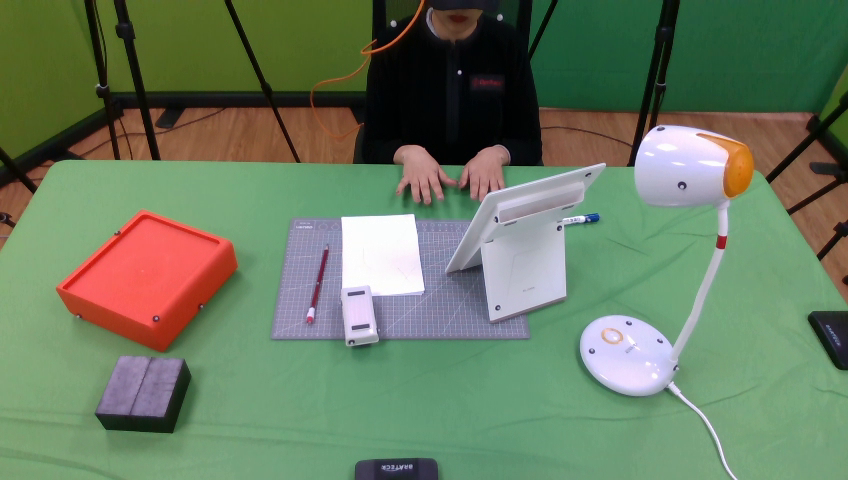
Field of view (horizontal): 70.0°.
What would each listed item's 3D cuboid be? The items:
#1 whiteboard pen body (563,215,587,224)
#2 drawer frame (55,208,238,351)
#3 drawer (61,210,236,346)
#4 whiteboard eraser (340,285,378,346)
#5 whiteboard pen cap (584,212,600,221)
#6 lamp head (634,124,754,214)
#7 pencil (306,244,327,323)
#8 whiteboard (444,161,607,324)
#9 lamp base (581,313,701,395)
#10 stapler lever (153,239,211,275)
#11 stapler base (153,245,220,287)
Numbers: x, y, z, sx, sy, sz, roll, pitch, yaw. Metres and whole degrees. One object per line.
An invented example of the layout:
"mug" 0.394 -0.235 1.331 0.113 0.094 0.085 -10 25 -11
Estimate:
"whiteboard pen body" 0.291 -0.040 1.260 0.141 0.017 0.017 -6 47 -11
"drawer frame" -0.474 0.062 1.059 0.201 0.083 0.213 18 48 12
"drawer" -0.474 0.061 1.063 0.194 0.073 0.211 19 49 13
"whiteboard eraser" -0.113 0.131 1.044 0.056 0.042 0.112 -5 47 -10
"whiteboard pen cap" 0.351 -0.049 1.271 0.033 0.018 0.018 -7 47 -11
"lamp head" 0.351 -0.089 0.775 0.112 0.113 0.122 -30 30 -28
"pencil" -0.196 0.076 1.115 0.012 0.012 0.193 4 44 0
"whiteboard" 0.186 0.025 1.029 0.217 0.306 0.143 -15 68 -18
"lamp base" 0.361 0.144 0.973 0.178 0.181 0.160 34 53 23
"stapler lever" -0.436 0.027 1.090 0.118 0.040 0.027 24 50 14
"stapler base" -0.436 0.042 1.108 0.130 0.024 0.041 23 50 15
